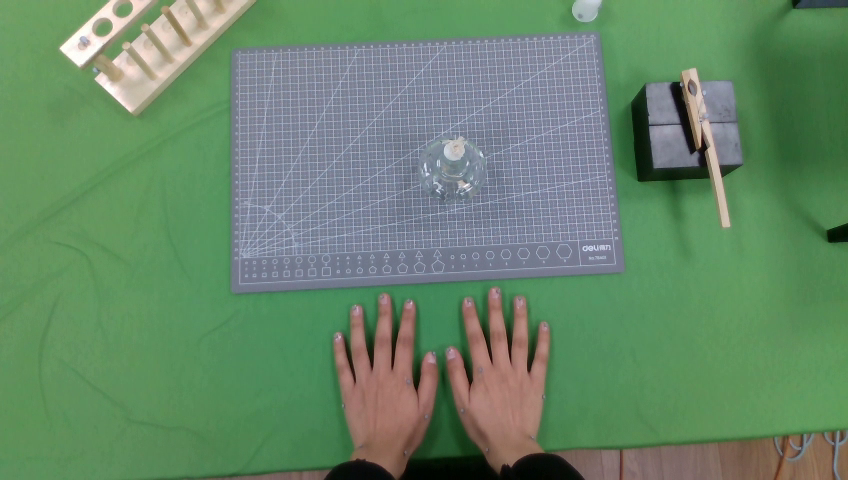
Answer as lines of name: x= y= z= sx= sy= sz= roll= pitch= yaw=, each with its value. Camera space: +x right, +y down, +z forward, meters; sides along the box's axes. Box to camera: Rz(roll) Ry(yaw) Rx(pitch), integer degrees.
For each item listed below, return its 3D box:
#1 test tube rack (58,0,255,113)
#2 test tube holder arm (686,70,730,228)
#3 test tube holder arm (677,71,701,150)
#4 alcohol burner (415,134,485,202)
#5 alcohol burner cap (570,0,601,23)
test tube rack: x=-0.289 y=-0.268 z=0.703 sx=0.066 sy=0.085 sz=0.242 roll=42 pitch=82 yaw=7
test tube holder arm: x=0.309 y=-0.100 z=0.664 sx=0.013 sy=0.015 sz=0.178 roll=-14 pitch=84 yaw=15
test tube holder arm: x=0.295 y=-0.143 z=0.670 sx=0.010 sy=0.015 sz=0.087 roll=-12 pitch=84 yaw=15
alcohol burner: x=0.029 y=-0.084 z=0.657 sx=0.078 sy=0.119 sz=0.077 roll=0 pitch=78 yaw=-1
alcohol burner cap: x=0.198 y=-0.289 z=0.734 sx=0.034 sy=0.048 sz=0.033 roll=0 pitch=79 yaw=0
